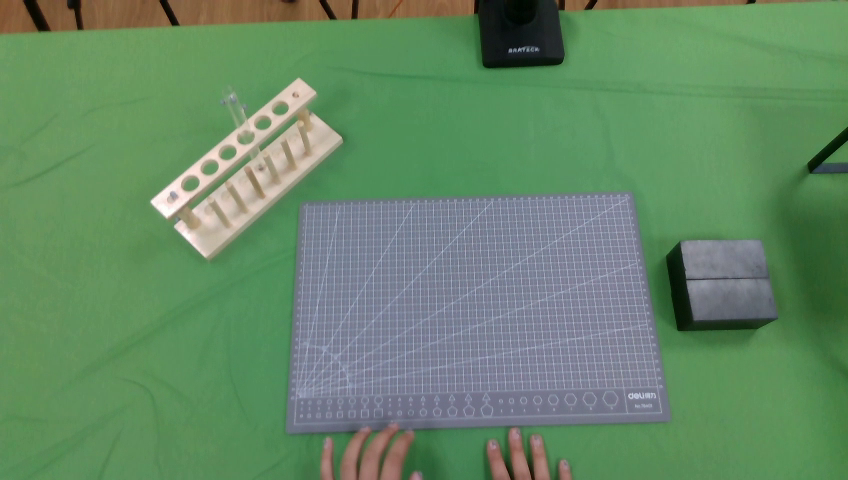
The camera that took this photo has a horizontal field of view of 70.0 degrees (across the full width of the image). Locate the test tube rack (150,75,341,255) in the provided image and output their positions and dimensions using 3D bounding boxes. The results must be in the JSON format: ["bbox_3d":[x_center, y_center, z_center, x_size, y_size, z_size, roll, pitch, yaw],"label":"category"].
[{"bbox_3d":[-0.223,-0.098,0.789,0.066,0.086,0.242,41,74,15],"label":"test tube rack"}]

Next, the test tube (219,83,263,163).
[{"bbox_3d":[-0.225,-0.141,0.754,0.017,0.151,0.017,0,64,0],"label":"test tube"}]
